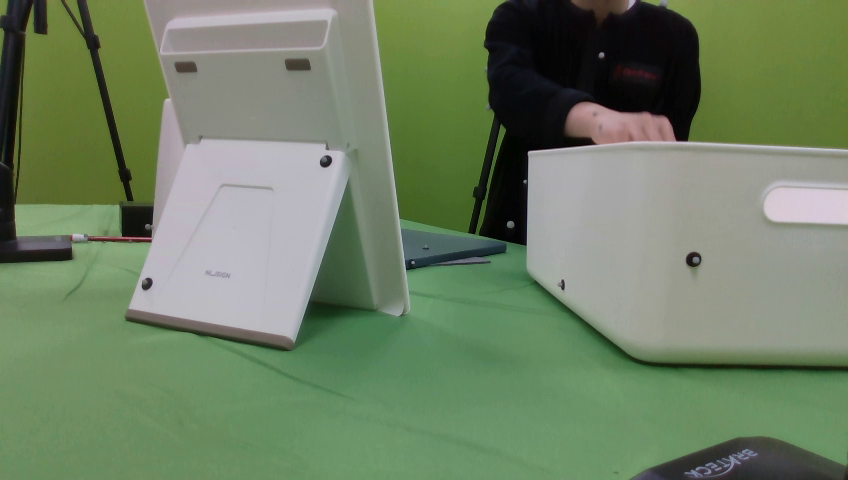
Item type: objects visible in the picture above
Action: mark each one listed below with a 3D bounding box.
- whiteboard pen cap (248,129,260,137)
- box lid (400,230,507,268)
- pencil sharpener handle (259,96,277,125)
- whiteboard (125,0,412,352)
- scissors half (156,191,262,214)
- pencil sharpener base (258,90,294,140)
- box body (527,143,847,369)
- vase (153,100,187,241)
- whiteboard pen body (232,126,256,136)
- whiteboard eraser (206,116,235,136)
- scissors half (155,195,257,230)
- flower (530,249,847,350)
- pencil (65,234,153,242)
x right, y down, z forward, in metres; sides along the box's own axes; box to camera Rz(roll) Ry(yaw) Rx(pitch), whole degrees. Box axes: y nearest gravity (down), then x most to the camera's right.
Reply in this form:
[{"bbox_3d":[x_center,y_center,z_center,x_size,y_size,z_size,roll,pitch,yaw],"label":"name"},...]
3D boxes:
[{"bbox_3d":[-0.373,-0.235,1.326,0.018,0.018,0.033,-3,12,-35],"label":"whiteboard pen cap"},{"bbox_3d":[-0.065,0.012,0.933,0.262,0.015,0.373,8,8,36],"label":"box lid"},{"bbox_3d":[-0.373,-0.304,1.425,0.036,0.067,0.030,13,-1,-37],"label":"pencil sharpener handle"},{"bbox_3d":[-0.151,-0.049,0.472,0.216,0.305,0.144,6,27,24],"label":"whiteboard"},{"bbox_3d":[-0.371,-0.068,1.051,0.176,0.040,0.013,2,26,-24],"label":"scissors half"},{"bbox_3d":[-0.341,-0.285,1.388,0.062,0.107,0.076,-3,9,-36],"label":"pencil sharpener base"},{"bbox_3d":[0.257,-0.005,0.591,0.254,0.160,0.363,2,7,-4],"label":"box body"},{"bbox_3d":[-0.278,-0.066,0.736,0.098,0.200,0.098,2,9,0],"label":"vase"},{"bbox_3d":[-0.407,-0.247,1.372,0.017,0.017,0.140,-3,13,-35],"label":"whiteboard pen body"},{"bbox_3d":[-0.449,-0.251,1.335,0.056,0.042,0.112,1,7,-22],"label":"whiteboard eraser"},{"bbox_3d":[-0.378,-0.051,1.059,0.176,0.040,0.012,20,23,-31],"label":"scissors half"},{"bbox_3d":[0.251,0.059,0.601,0.044,0.038,0.359,34,-11,-39],"label":"flower"},{"bbox_3d":[-0.429,-0.001,0.911,0.195,0.012,0.012,1,7,-20],"label":"pencil"}]
